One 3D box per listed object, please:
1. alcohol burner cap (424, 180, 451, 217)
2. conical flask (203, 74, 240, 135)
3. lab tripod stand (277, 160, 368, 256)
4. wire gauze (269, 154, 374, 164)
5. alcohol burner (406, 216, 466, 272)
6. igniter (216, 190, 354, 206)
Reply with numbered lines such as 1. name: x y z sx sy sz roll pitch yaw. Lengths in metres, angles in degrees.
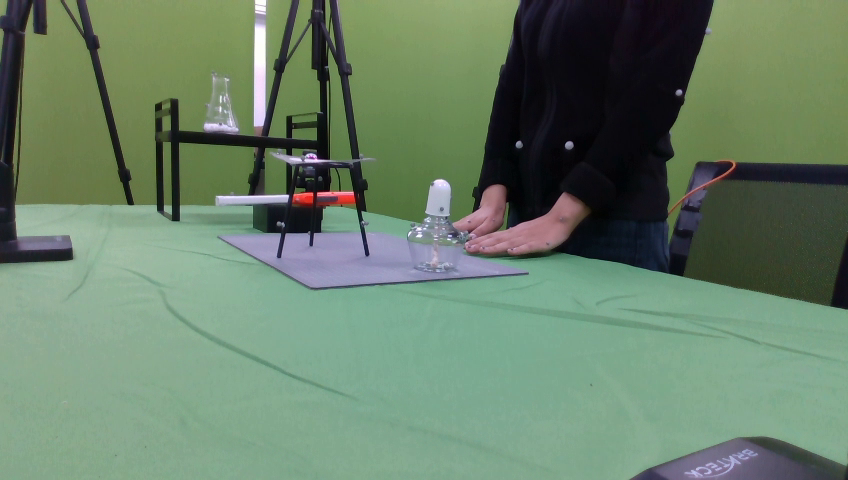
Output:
1. alcohol burner cap: 0.020 -0.053 0.772 0.034 0.048 0.034 6 14 -1
2. conical flask: -0.425 -0.284 1.271 0.075 0.122 0.075 3 7 0
3. lab tripod stand: -0.150 -0.046 0.861 0.148 0.131 0.148 3 9 0
4. wire gauze: -0.146 -0.114 0.860 0.122 0.011 0.124 -2 9 -28
5. alcohol burner: 0.017 -0.018 0.777 0.078 0.119 0.078 5 7 0
6. igniter: -0.248 -0.079 1.142 0.278 0.025 0.057 -5 8 -31
